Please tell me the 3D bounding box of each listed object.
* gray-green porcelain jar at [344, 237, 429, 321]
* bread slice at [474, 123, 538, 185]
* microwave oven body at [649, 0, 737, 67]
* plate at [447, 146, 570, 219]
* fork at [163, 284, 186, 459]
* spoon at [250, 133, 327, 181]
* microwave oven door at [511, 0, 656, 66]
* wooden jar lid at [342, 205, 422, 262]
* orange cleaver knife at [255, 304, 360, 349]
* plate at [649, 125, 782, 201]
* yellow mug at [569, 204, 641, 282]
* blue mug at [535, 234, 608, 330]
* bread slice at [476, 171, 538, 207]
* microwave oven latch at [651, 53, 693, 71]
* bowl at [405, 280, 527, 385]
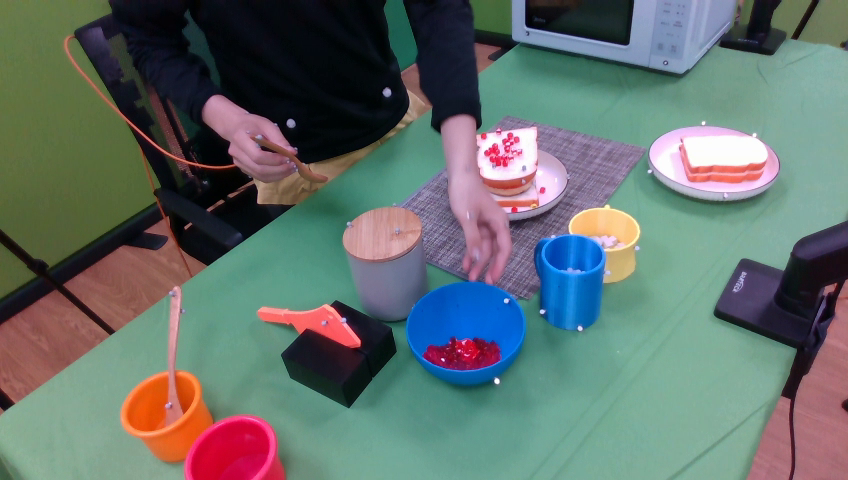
[{"bbox_3d":[-0.049,0.042,0.850,0.106,0.127,0.105,-5,41,5],"label":"gray-green porcelain jar"},{"bbox_3d":[0.141,-0.144,1.009,0.107,0.018,0.133,-8,47,8],"label":"bread slice"},{"bbox_3d":[0.475,-0.602,1.411,0.438,0.261,0.327,23,50,32],"label":"microwave oven body"},{"bbox_3d":[0.145,-0.098,1.046,0.209,0.038,0.208,-4,40,4],"label":"plate"},{"bbox_3d":[-0.302,0.157,0.733,0.028,0.019,0.207,-3,84,13],"label":"fork"},{"bbox_3d":[-0.189,-0.115,0.847,0.041,0.195,0.021,18,82,20],"label":"spoon"},{"bbox_3d":[0.351,-0.539,1.348,0.353,0.245,0.039,24,50,31],"label":"microwave oven door"},{"bbox_3d":[-0.055,-0.005,0.808,0.108,0.021,0.108,-6,40,6],"label":"wooden jar lid"},{"bbox_3d":[-0.161,0.115,0.813,0.210,0.077,0.012,-4,32,47],"label":"orange cleaver knife"},{"bbox_3d":[0.493,-0.127,1.036,0.207,0.039,0.206,-4,41,4],"label":"plate"},{"bbox_3d":[0.268,-0.004,0.904,0.099,0.064,0.130,6,41,15],"label":"yellow mug"},{"bbox_3d":[0.191,0.048,0.824,0.082,0.106,0.115,-26,44,-21],"label":"blue mug"},{"bbox_3d":[0.143,-0.104,1.058,0.105,0.019,0.131,0,44,5],"label":"bread slice"},{"bbox_3d":[0.532,-0.387,1.301,0.078,0.029,0.030,27,52,34],"label":"microwave oven latch"},{"bbox_3d":[0.055,0.131,0.767,0.151,0.077,0.150,-4,40,4],"label":"bowl"}]
